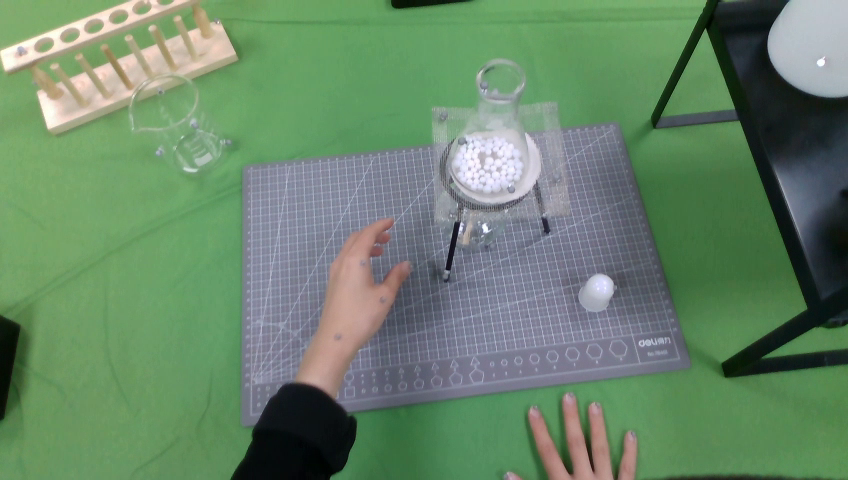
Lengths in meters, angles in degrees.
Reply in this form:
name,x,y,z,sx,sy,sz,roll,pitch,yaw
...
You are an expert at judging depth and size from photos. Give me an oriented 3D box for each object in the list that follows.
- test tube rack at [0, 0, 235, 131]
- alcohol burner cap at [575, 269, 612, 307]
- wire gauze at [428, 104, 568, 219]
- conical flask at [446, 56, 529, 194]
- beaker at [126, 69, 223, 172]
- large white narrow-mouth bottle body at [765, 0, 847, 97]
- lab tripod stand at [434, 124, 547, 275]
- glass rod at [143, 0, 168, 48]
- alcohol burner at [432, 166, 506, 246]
name,x,y,z,sx,sy,sz,roll,pitch,yaw
test tube rack,-0.366,-0.227,0.735,0.242,0.086,0.066,-26,68,-10
alcohol burner cap,0.176,0.047,0.622,0.034,0.048,0.033,0,67,1
wire gauze,0.066,-0.077,0.557,0.121,0.011,0.124,-1,64,-2
conical flask,0.056,-0.097,0.501,0.075,0.123,0.075,0,66,1
beaker,-0.277,-0.128,0.682,0.073,0.101,0.084,38,73,17
large white narrow-mouth bottle body,0.348,-0.204,0.452,0.102,0.196,0.101,0,64,1
lab tripod stand,0.061,-0.045,0.615,0.148,0.132,0.147,0,64,0
glass rod,-0.325,-0.292,0.690,0.008,0.201,0.008,1,64,-3
alcohol burner,0.048,-0.041,0.625,0.078,0.120,0.077,0,65,0
